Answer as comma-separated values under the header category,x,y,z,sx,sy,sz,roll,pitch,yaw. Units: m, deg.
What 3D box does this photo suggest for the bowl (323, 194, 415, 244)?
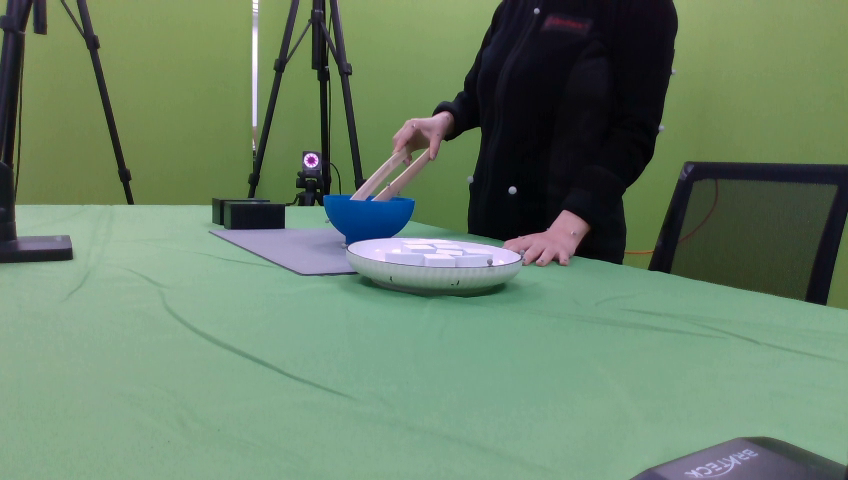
category,x,y,z,sx,sy,sz,roll,pitch,yaw
bowl,-0.090,-0.032,0.986,0.151,0.077,0.151,2,7,0

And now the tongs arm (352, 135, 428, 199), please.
category,x,y,z,sx,sy,sz,roll,pitch,yaw
tongs arm,-0.060,-0.132,1.132,0.028,0.028,0.388,-3,24,20

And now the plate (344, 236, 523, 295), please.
category,x,y,z,sx,sy,sz,roll,pitch,yaw
plate,0.010,0.030,0.707,0.208,0.039,0.207,3,8,0

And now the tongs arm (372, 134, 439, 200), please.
category,x,y,z,sx,sy,sz,roll,pitch,yaw
tongs arm,-0.038,-0.131,1.125,0.050,0.026,0.385,2,26,22
